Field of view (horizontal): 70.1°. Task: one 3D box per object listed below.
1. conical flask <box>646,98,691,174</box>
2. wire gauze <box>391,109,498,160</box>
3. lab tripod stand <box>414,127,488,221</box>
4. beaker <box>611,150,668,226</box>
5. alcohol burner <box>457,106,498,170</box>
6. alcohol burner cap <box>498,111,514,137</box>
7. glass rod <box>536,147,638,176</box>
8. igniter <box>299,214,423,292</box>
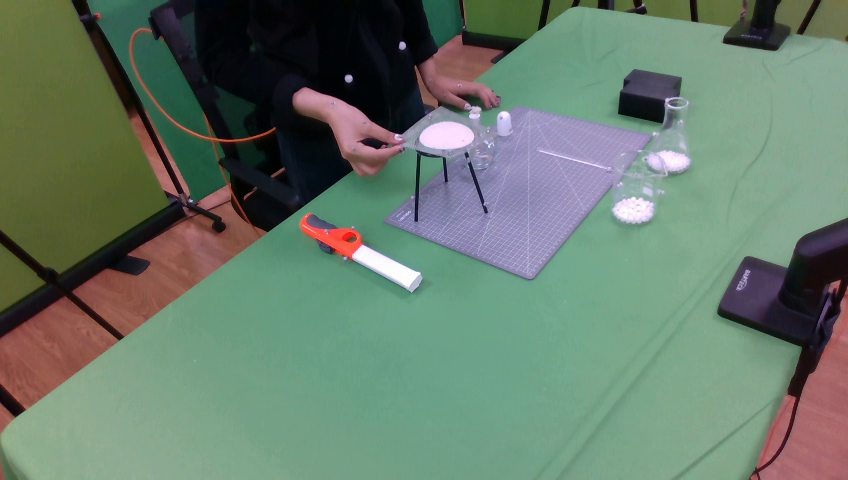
[{"bbox_3d":[0.426,-0.180,1.037,0.075,0.122,0.075,-5,40,5],"label":"conical flask"},{"bbox_3d":[0.033,-0.165,0.950,0.120,0.011,0.125,28,47,31],"label":"wire gauze"},{"bbox_3d":[0.035,-0.114,1.021,0.148,0.132,0.147,-7,39,6],"label":"lab tripod stand"},{"bbox_3d":[0.337,-0.079,0.953,0.083,0.101,0.074,25,51,33],"label":"beaker"},{"bbox_3d":[0.097,-0.192,1.117,0.078,0.119,0.077,-7,39,6],"label":"alcohol burner"},{"bbox_3d":[0.163,-0.235,1.211,0.034,0.048,0.033,-6,40,6],"label":"alcohol burner cap"},{"bbox_3d":[0.294,-0.145,1.104,0.198,0.008,0.008,22,50,31],"label":"glass rod"},{"bbox_3d":[-0.112,0.016,0.983,0.274,0.025,0.057,25,62,35],"label":"igniter"}]
